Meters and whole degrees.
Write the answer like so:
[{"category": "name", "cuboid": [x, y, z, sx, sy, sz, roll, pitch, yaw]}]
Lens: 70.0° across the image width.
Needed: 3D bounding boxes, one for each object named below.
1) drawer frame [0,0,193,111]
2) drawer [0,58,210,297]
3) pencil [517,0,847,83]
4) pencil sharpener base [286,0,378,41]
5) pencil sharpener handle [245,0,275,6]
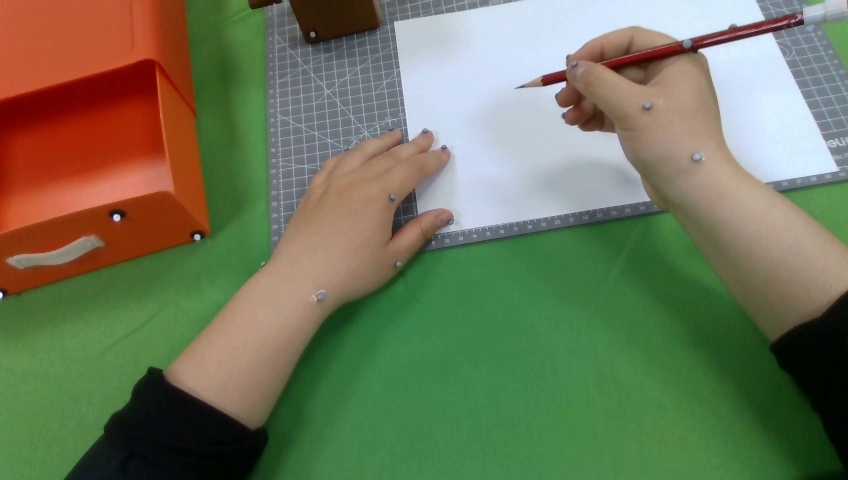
[{"category": "drawer frame", "cuboid": [-0.313, -0.178, 0.514, 0.202, 0.083, 0.211, -17, 64, 0]}, {"category": "drawer", "cuboid": [-0.281, -0.077, 0.466, 0.194, 0.074, 0.210, -17, 64, 0]}, {"category": "pencil", "cuboid": [0.142, -0.115, 0.355, 0.193, 0.012, 0.012, -6, 61, 34]}, {"category": "pencil sharpener base", "cuboid": [-0.087, -0.224, 0.491, 0.077, 0.108, 0.061, -15, 64, 1]}, {"category": "pencil sharpener handle", "cuboid": [-0.138, -0.216, 0.480, 0.030, 0.068, 0.035, -15, 62, 1]}]
